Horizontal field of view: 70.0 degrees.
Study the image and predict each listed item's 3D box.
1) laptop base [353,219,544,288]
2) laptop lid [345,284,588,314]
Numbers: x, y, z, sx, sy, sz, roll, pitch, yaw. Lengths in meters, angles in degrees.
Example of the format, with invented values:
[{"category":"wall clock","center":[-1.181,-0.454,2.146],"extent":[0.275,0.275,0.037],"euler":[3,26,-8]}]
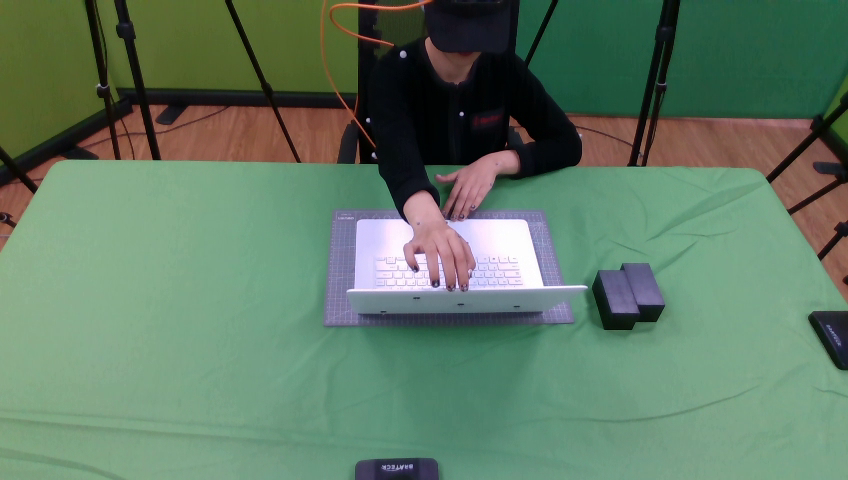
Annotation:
[{"category":"laptop base","center":[0.043,0.044,1.161],"extent":[0.355,0.023,0.234],"euler":[0,43,-5]},{"category":"laptop lid","center":[0.057,0.098,0.968],"extent":[0.357,0.242,0.013],"euler":[0,75,-6]}]
